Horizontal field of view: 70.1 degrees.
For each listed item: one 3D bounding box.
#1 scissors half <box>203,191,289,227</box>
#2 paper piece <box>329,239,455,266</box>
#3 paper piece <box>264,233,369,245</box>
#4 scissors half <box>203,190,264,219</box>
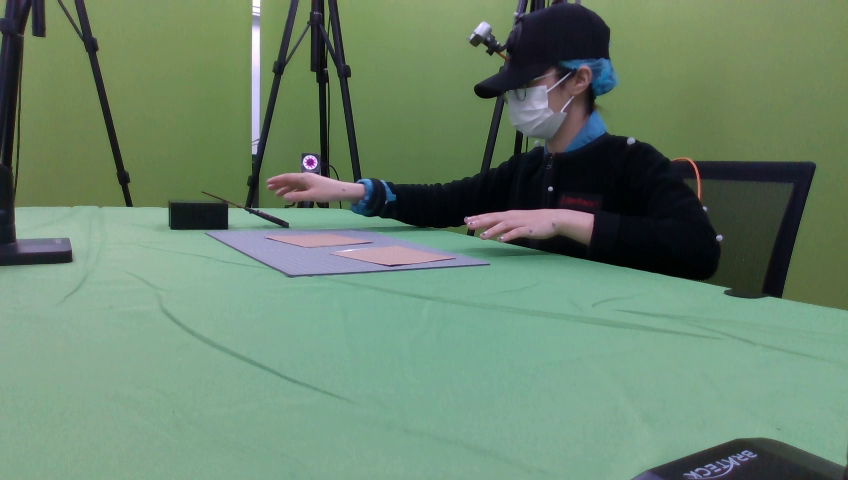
[{"bbox_3d":[-0.351,-0.063,1.200,0.176,0.013,0.040,23,-8,-16],"label":"scissors half"},{"bbox_3d":[-0.047,0.018,0.892,0.137,0.008,0.137,12,16,44],"label":"paper piece"},{"bbox_3d":[-0.180,-0.005,1.032,0.136,0.004,0.135,-3,9,-43],"label":"paper piece"},{"bbox_3d":[-0.359,-0.065,1.218,0.176,0.013,0.040,25,-4,-33],"label":"scissors half"}]
